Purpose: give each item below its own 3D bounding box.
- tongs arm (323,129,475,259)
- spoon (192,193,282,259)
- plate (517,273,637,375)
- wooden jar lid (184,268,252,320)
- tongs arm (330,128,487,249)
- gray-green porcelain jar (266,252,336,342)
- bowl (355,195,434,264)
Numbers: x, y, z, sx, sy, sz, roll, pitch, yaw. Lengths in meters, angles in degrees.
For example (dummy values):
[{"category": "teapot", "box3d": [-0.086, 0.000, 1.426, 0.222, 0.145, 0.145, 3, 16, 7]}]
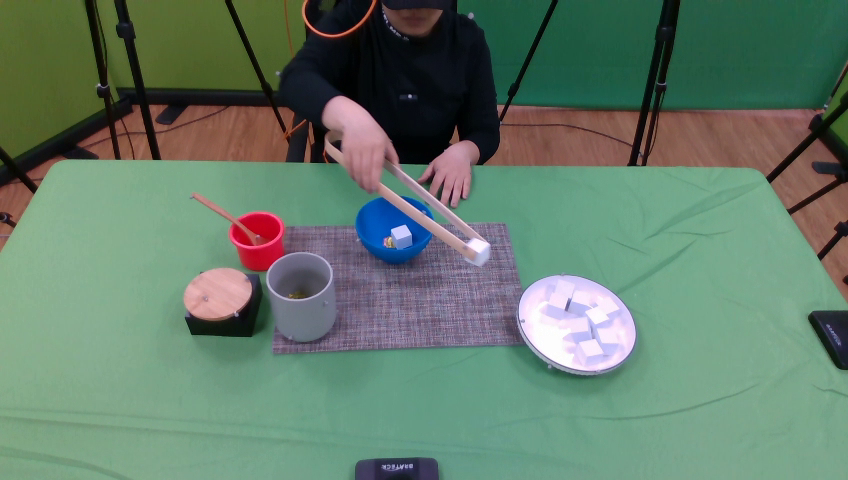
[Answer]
[{"category": "tongs arm", "box3d": [-0.051, -0.089, 1.083, 0.383, 0.026, 0.050, 35, 53, 20]}, {"category": "spoon", "box3d": [-0.342, -0.027, 1.115, 0.194, 0.021, 0.041, 43, 40, -24]}, {"category": "plate", "box3d": [0.264, 0.149, 1.060, 0.209, 0.038, 0.208, 3, 46, -3]}, {"category": "wooden jar lid", "box3d": [-0.343, 0.092, 1.015, 0.108, 0.021, 0.107, 3, 46, -3]}, {"category": "tongs arm", "box3d": [-0.035, -0.100, 1.096, 0.386, 0.028, 0.028, 38, 57, 23]}, {"category": "gray-green porcelain jar", "box3d": [-0.202, 0.100, 1.009, 0.106, 0.127, 0.105, 2, 46, -2]}, {"category": "bowl", "box3d": [-0.056, -0.008, 1.158, 0.151, 0.077, 0.150, 2, 46, -2]}]
